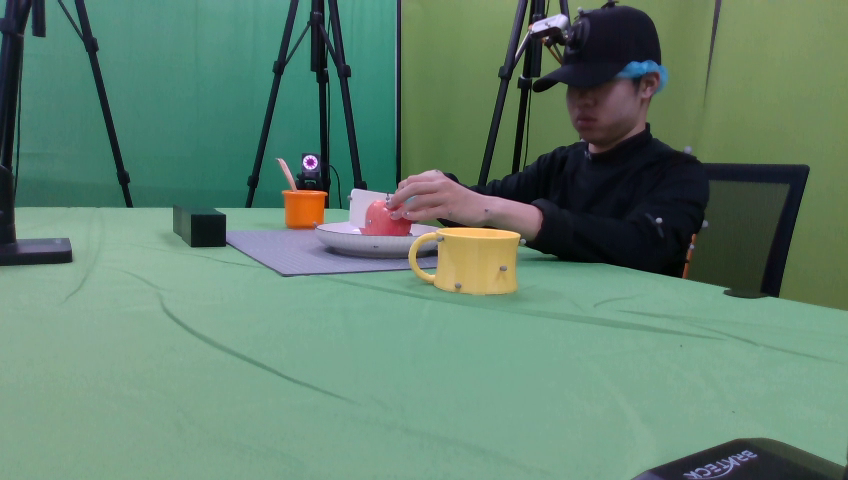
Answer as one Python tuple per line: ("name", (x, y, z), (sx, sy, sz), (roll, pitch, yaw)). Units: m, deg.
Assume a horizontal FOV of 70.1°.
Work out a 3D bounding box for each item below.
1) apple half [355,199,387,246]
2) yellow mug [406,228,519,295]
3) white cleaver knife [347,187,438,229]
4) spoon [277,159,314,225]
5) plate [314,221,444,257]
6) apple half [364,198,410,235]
("apple half", (-0.088, -0.027, 0.942), (0.032, 0.081, 0.081), (3, 7, 26))
("yellow mug", (0.044, 0.022, 0.706), (0.131, 0.064, 0.100), (2, 7, 5))
("white cleaver knife", (-0.048, -0.048, 0.990), (0.021, 0.066, 0.288), (3, 3, 28))
("spoon", (-0.272, -0.103, 1.260), (0.042, 0.193, 0.021), (-4, -34, -33))
("plate", (-0.067, -0.002, 0.947), (0.209, 0.038, 0.209), (3, 7, 0))
("apple half", (-0.050, -0.025, 0.926), (0.053, 0.074, 0.081), (12, 8, 23))
